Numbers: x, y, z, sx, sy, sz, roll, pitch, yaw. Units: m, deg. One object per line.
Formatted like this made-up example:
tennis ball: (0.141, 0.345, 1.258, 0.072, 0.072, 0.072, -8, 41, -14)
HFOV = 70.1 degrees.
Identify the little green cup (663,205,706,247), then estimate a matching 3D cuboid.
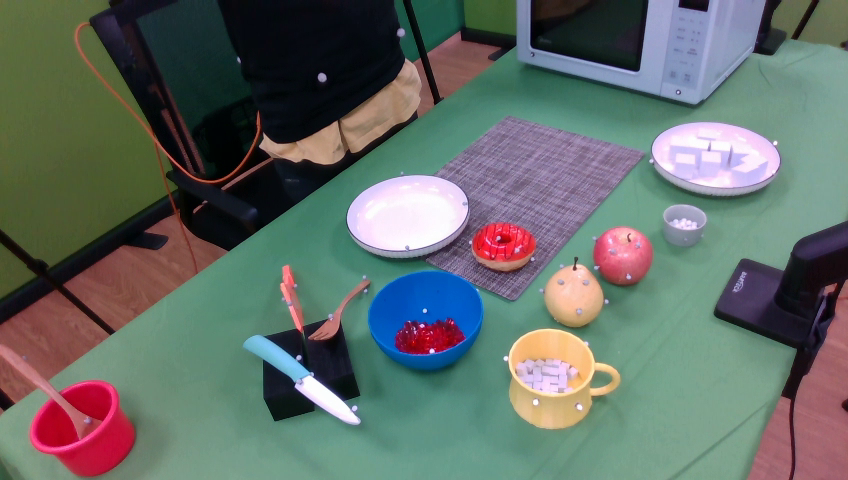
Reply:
little green cup: (0.396, -0.021, 0.926, 0.061, 0.039, 0.061, -4, 40, 4)

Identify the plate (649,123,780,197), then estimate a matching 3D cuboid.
plate: (0.497, -0.135, 1.046, 0.207, 0.039, 0.206, -4, 40, 4)

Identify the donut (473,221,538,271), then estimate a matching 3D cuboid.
donut: (0.123, 0.008, 0.923, 0.099, 0.048, 0.098, -4, 38, 3)

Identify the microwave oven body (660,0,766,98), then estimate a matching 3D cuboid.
microwave oven body: (0.472, -0.513, 1.317, 0.438, 0.261, 0.327, 26, 51, 34)

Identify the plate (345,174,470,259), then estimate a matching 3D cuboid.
plate: (-0.026, -0.036, 1.004, 0.209, 0.038, 0.208, -4, 40, 4)

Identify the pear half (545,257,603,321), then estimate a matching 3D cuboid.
pear half: (0.197, 0.056, 0.811, 0.076, 0.110, 0.055, -14, 41, -13)

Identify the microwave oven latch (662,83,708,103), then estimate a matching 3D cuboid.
microwave oven latch: (0.517, -0.296, 1.203, 0.078, 0.029, 0.030, 28, 52, 35)

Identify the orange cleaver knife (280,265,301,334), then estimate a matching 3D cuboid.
orange cleaver knife: (-0.189, 0.081, 0.862, 0.012, 0.077, 0.210, -19, 12, -10)

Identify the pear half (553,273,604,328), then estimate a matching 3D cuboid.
pear half: (0.208, 0.085, 0.791, 0.071, 0.088, 0.031, -14, 39, -15)

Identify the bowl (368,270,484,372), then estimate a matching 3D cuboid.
bowl: (0.006, 0.118, 0.791, 0.151, 0.077, 0.150, -5, 40, 4)

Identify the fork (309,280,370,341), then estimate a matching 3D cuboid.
fork: (-0.109, 0.093, 0.832, 0.028, 0.018, 0.207, -6, 19, 15)

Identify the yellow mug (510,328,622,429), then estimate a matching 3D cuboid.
yellow mug: (0.168, 0.164, 0.722, 0.130, 0.064, 0.099, 0, 40, 8)

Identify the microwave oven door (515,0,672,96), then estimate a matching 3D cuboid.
microwave oven door: (0.343, -0.454, 1.259, 0.353, 0.245, 0.039, 26, 51, 33)

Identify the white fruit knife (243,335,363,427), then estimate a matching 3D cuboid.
white fruit knife: (-0.148, 0.167, 0.730, 0.206, 0.016, 0.027, 27, 80, 31)

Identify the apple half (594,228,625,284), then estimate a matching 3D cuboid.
apple half: (0.259, 0.026, 0.864, 0.033, 0.081, 0.081, -3, 40, 0)

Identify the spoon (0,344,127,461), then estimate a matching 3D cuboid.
spoon: (-0.433, 0.191, 0.721, 0.194, 0.021, 0.042, 47, 53, -7)

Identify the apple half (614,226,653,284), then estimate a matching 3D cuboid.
apple half: (0.298, 0.023, 0.864, 0.053, 0.075, 0.080, -3, 37, 1)
